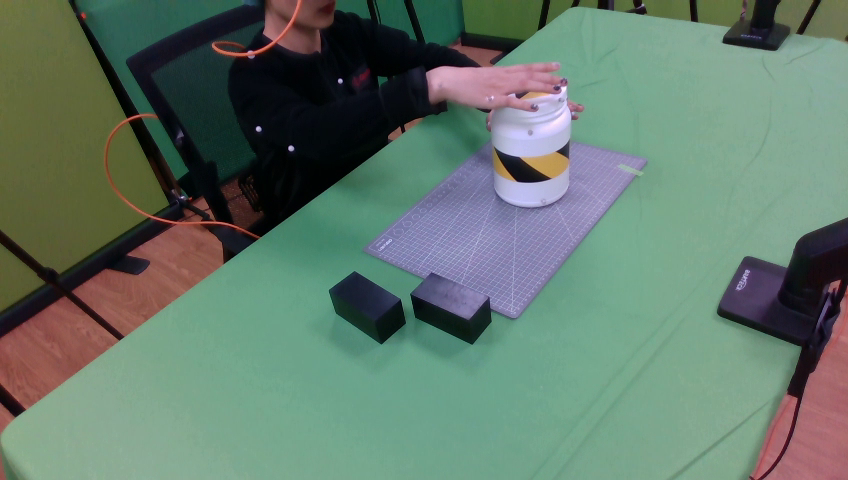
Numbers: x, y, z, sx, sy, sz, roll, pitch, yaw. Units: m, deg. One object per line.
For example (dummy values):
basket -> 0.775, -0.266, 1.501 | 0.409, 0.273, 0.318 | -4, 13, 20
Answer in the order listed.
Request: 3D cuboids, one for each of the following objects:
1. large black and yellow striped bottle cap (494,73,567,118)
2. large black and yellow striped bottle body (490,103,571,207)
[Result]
large black and yellow striped bottle cap -> 0.167, -0.230, 0.954 | 0.115, 0.019, 0.114 | -6, 41, 6
large black and yellow striped bottle body -> 0.179, -0.162, 1.009 | 0.131, 0.185, 0.130 | -5, 40, 5
